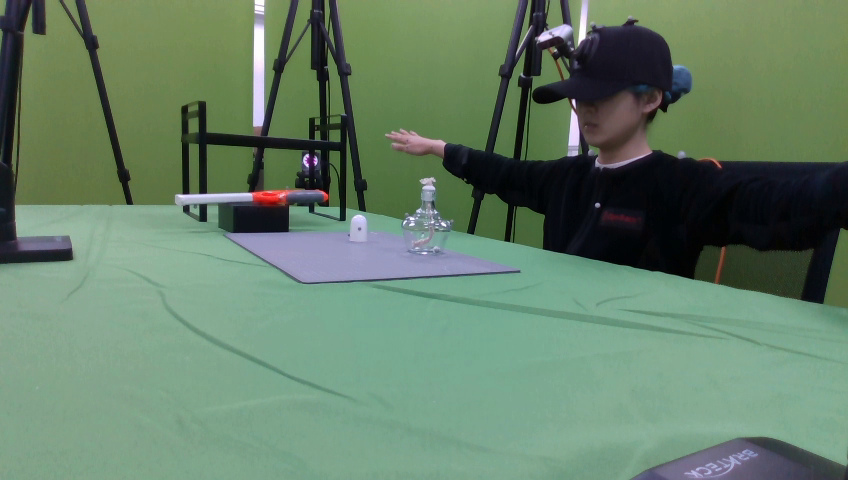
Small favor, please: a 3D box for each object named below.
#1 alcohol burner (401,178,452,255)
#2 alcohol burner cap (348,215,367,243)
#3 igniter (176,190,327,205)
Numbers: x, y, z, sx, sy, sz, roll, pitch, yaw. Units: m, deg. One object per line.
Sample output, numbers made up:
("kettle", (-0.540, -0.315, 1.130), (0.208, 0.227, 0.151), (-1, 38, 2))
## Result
("alcohol burner", (0.005, -0.036, 0.923), (0.078, 0.119, 0.078), (5, 7, 0))
("alcohol burner cap", (-0.112, -0.019, 1.025), (0.034, 0.048, 0.034), (2, 6, 0))
("igniter", (-0.316, -0.080, 1.137), (0.278, 0.025, 0.057), (-4, 13, -33))
